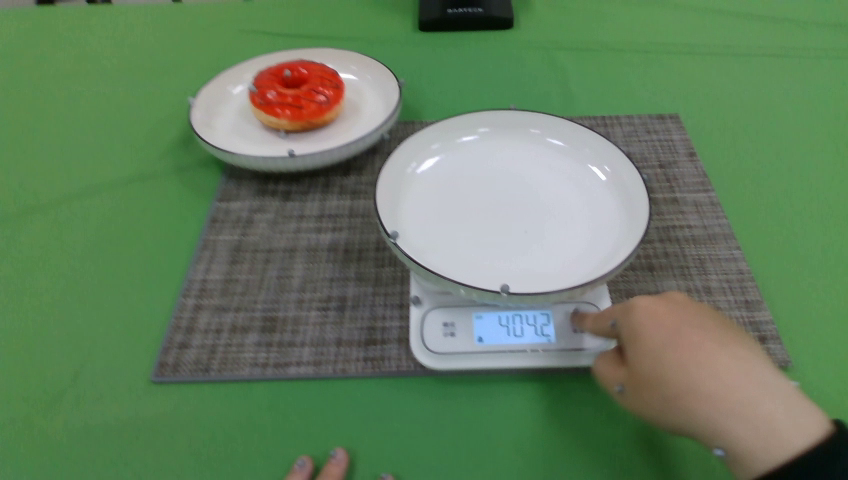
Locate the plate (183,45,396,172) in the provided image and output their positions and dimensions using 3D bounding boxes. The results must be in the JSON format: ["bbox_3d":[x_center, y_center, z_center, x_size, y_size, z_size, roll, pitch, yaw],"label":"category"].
[{"bbox_3d":[-0.132,-0.132,0.613,0.209,0.038,0.207,-1,45,1],"label":"plate"}]

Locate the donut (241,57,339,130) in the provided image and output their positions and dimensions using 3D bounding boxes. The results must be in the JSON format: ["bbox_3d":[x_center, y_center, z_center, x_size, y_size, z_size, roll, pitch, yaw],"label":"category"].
[{"bbox_3d":[-0.134,-0.147,0.613,0.099,0.048,0.098,0,45,0],"label":"donut"}]

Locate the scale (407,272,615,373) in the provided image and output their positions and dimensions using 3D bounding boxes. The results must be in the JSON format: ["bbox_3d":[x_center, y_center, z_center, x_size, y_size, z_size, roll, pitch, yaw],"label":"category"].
[{"bbox_3d":[0.061,0.011,0.480,0.149,0.032,0.199,-1,48,0],"label":"scale"}]

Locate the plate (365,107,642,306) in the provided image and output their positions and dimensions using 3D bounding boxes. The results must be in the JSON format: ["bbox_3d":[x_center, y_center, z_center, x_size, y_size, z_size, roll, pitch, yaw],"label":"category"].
[{"bbox_3d":[0.059,-0.028,0.472,0.208,0.039,0.205,0,48,0],"label":"plate"}]
